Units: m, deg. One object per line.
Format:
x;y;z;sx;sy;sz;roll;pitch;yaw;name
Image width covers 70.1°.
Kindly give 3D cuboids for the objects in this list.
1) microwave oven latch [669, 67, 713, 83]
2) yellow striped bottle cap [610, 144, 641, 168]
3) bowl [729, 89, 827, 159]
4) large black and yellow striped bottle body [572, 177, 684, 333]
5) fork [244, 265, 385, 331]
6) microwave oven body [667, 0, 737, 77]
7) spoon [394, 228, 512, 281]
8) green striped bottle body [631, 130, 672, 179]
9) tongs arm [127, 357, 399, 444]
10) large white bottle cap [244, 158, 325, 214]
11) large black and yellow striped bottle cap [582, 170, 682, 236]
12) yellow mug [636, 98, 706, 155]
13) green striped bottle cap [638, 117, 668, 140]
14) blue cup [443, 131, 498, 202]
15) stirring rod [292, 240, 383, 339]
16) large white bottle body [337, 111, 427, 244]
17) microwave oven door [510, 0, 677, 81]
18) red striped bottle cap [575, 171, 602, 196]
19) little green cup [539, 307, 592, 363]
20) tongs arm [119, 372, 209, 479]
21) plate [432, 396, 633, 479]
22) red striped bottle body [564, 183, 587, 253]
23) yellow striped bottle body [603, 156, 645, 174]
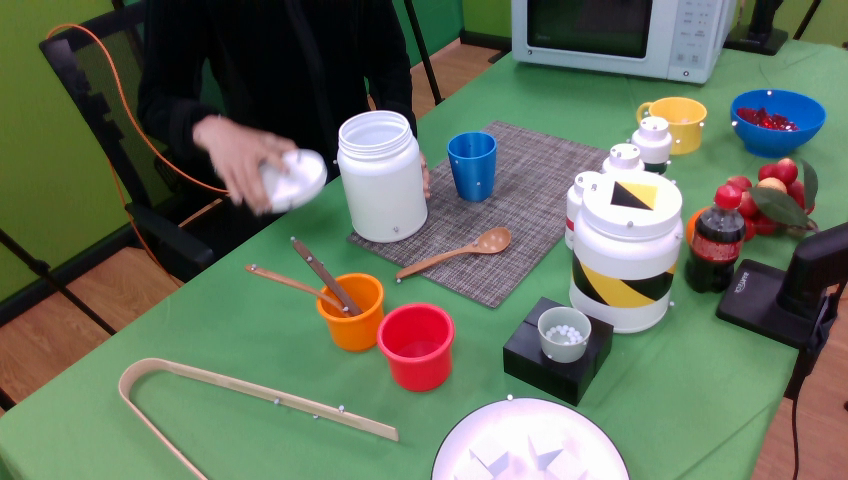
0.556;-0.349;1.261;0.078;0.029;0.030;16;46;27;microwave oven latch
0.307;-0.128;0.923;0.044;0.019;0.044;-6;39;5;yellow striped bottle cap
0.615;-0.197;1.069;0.151;0.077;0.150;-5;40;5;bowl
0.262;0.017;0.788;0.131;0.185;0.130;-5;40;4;large black and yellow striped bottle body
-0.142;0.078;0.806;0.209;0.018;0.028;30;31;-23;fork
0.462;-0.552;1.368;0.439;0.261;0.326;15;45;26;microwave oven body
0.045;0.024;0.935;0.194;0.022;0.041;-18;66;-11;spoon
0.375;-0.140;1.007;0.063;0.120;0.063;-5;40;5;green striped bottle body
-0.213;0.205;0.755;0.382;0.026;0.051;12;46;23;tongs arm
-0.197;-0.078;0.856;0.115;0.018;0.114;-7;40;6;large white bottle cap
0.252;-0.048;0.735;0.115;0.019;0.114;-3;40;3;large black and yellow striped bottle cap
0.453;-0.217;1.128;0.100;0.064;0.129;-34;46;-27;yellow mug
0.369;-0.180;0.974;0.044;0.020;0.044;-4;41;4;green striped bottle cap
0.087;-0.122;1.040;0.092;0.101;0.092;-5;42;5;blue cup
-0.118;0.068;0.825;0.176;0.006;0.014;48;59;-3;stirring rod
-0.067;-0.101;0.973;0.130;0.185;0.130;-4;40;4;large white bottle body
0.354;-0.478;1.290;0.353;0.245;0.039;15;45;25;microwave oven door
0.242;-0.081;0.876;0.044;0.018;0.044;-5;44;5;red striped bottle cap
0.168;0.115;0.721;0.061;0.039;0.061;-4;42;4;little green cup
-0.258;0.257;0.700;0.384;0.028;0.028;24;55;34;tongs arm
0.112;0.261;0.634;0.209;0.038;0.208;-5;40;4;plate
0.246;-0.041;0.910;0.063;0.120;0.062;-2;39;2;red striped bottle body
0.313;-0.089;0.956;0.063;0.121;0.062;-4;40;4;yellow striped bottle body
